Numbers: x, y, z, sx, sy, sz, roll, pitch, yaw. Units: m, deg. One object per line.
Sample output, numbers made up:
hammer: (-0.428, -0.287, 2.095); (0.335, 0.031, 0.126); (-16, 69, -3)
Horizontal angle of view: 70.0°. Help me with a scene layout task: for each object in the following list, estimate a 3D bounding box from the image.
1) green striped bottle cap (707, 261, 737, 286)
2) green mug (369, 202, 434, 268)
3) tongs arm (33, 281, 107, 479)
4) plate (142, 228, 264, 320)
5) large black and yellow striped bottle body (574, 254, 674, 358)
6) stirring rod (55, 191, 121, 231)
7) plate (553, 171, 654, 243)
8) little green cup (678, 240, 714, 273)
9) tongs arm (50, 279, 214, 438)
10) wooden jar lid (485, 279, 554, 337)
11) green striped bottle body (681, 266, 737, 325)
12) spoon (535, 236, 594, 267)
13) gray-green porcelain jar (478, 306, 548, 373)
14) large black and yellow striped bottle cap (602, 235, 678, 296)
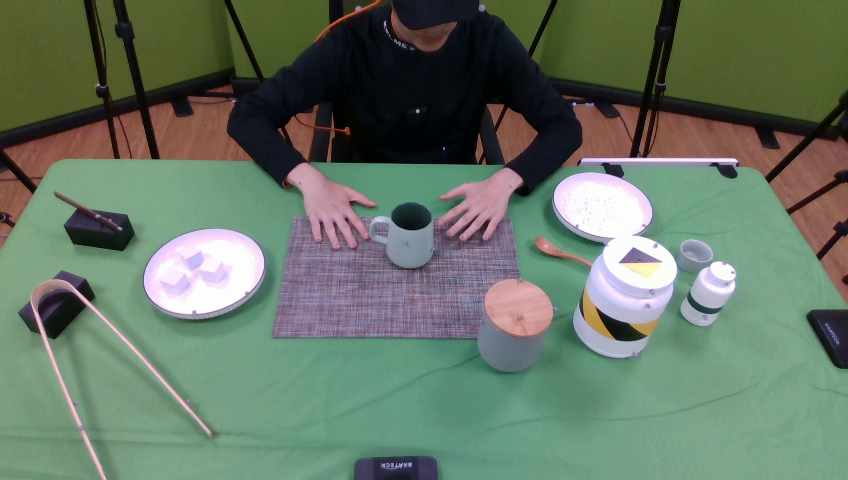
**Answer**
green striped bottle cap: (0.510, 0.057, 1.036); (0.044, 0.020, 0.044); (0, 45, 0)
green mug: (-0.042, -0.010, 1.140); (0.125, 0.105, 0.092); (7, 47, 4)
tongs arm: (-0.517, 0.214, 0.910); (0.051, 0.026, 0.383); (-28, 63, -27)
plate: (-0.394, 0.064, 1.095); (0.208, 0.039, 0.206); (2, 46, -2)
large black and yellow striped bottle body: (0.335, 0.096, 1.014); (0.131, 0.185, 0.130); (2, 46, -2)
stirring rod: (-0.632, -0.055, 1.138); (0.175, 0.014, 0.006); (24, 50, 19)
plate: (0.373, -0.066, 1.274); (0.209, 0.038, 0.208); (2, 46, -2)
little green cup: (0.530, 0.033, 1.190); (0.061, 0.039, 0.061); (1, 46, -1)
tongs arm: (-0.459, 0.178, 0.949); (0.386, 0.028, 0.028); (37, 60, 17)
wooden jar lid: (0.147, 0.108, 0.940); (0.108, 0.021, 0.107); (4, 47, -4)
green striped bottle body: (0.507, 0.093, 1.074); (0.063, 0.120, 0.063); (2, 46, -2)
spoon: (0.303, 0.040, 1.178); (0.193, 0.022, 0.041); (25, 31, 19)
gray-green porcelain jar: (0.144, 0.148, 0.989); (0.106, 0.127, 0.105); (2, 50, -2)
large black and yellow striped bottle cap: (0.340, 0.037, 0.956); (0.115, 0.019, 0.114); (2, 47, -2)
